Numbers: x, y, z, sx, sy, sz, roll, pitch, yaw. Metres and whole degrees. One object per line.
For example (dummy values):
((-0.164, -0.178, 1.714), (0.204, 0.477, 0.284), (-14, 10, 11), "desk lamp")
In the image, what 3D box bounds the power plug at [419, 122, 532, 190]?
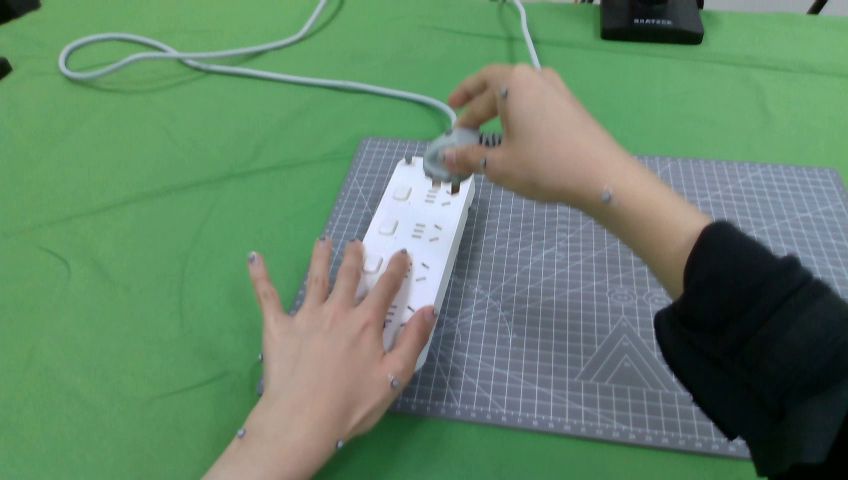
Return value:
((0.032, -0.052, 0.415), (0.072, 0.053, 0.035), (16, 52, 12), "power plug")

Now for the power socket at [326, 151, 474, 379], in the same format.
((-0.012, 0.005, 0.479), (0.072, 0.033, 0.225), (9, 47, 10), "power socket")
